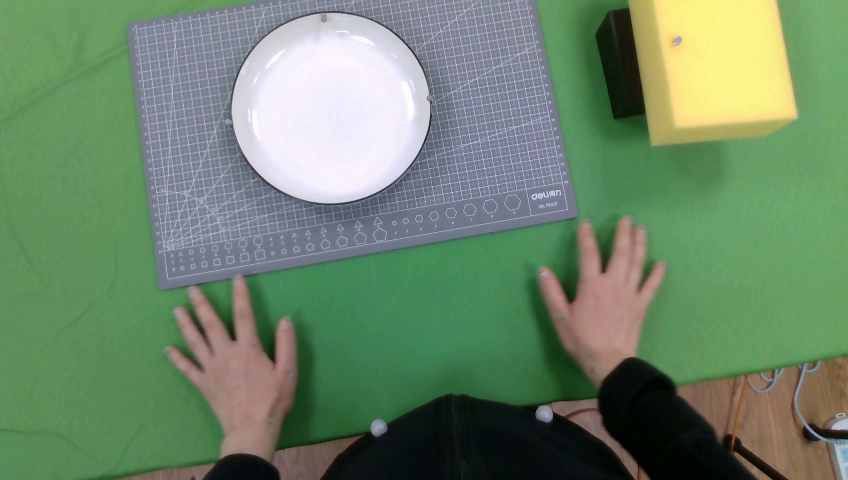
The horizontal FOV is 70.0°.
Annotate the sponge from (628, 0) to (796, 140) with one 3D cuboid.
[{"bbox_3d":[0.275,-0.210,0.594,0.118,0.061,0.206,-7,84,-1],"label":"sponge"}]

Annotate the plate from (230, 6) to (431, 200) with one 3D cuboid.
[{"bbox_3d":[-0.096,-0.142,0.642,0.209,0.038,0.208,0,84,-1],"label":"plate"}]
